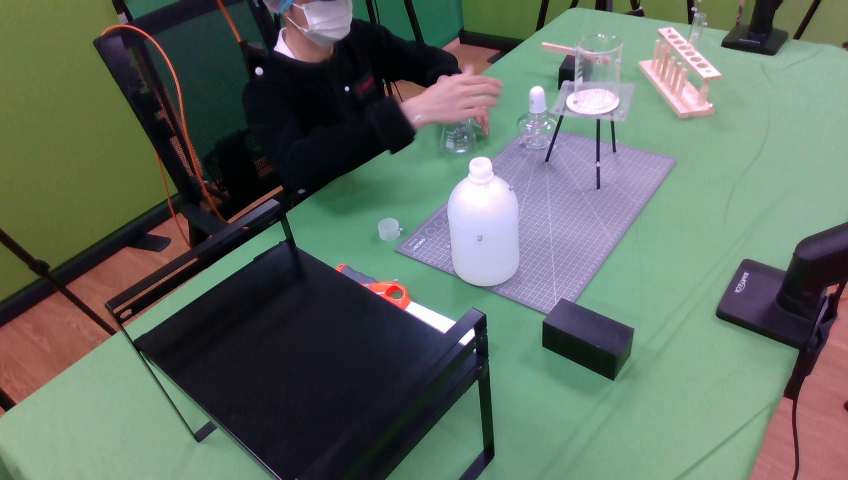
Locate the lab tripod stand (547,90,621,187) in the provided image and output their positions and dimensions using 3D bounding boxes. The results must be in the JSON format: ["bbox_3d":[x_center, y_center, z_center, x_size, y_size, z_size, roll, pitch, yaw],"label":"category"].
[{"bbox_3d":[0.289,-0.184,1.062,0.148,0.132,0.147,-6,41,6],"label":"lab tripod stand"}]

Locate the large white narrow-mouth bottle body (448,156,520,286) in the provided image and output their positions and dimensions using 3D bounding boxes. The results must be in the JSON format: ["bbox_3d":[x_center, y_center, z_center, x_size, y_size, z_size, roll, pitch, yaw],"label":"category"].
[{"bbox_3d":[0.086,-0.032,0.869,0.102,0.195,0.101,-4,40,4],"label":"large white narrow-mouth bottle body"}]

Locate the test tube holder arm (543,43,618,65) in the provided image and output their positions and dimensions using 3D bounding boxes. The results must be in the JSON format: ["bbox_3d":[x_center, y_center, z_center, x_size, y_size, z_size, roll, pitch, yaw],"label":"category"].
[{"bbox_3d":[0.345,-0.413,1.341,0.177,0.015,0.013,25,50,32],"label":"test tube holder arm"}]

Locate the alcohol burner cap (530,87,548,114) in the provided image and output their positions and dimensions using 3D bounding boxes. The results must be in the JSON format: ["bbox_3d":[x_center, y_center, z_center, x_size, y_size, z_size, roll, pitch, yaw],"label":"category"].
[{"bbox_3d":[0.212,-0.262,1.126,0.034,0.048,0.033,-8,36,7],"label":"alcohol burner cap"}]

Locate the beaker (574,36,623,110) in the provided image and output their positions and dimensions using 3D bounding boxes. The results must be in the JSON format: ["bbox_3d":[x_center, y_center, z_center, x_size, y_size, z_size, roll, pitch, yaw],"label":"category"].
[{"bbox_3d":[0.285,-0.273,0.990,0.073,0.101,0.084,15,46,27],"label":"beaker"}]

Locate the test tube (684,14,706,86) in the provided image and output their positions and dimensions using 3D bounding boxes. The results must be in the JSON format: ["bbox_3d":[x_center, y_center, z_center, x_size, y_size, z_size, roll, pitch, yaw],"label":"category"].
[{"bbox_3d":[0.540,-0.378,1.215,0.017,0.151,0.017,-2,44,3],"label":"test tube"}]

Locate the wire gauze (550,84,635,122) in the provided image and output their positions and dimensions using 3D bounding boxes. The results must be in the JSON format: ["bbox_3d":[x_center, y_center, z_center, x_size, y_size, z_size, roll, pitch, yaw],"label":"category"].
[{"bbox_3d":[0.285,-0.234,1.021,0.124,0.011,0.121,8,41,23],"label":"wire gauze"}]

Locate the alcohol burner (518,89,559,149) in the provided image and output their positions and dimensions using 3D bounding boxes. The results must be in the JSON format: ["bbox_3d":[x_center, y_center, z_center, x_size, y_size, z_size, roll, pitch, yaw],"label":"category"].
[{"bbox_3d":[0.218,-0.235,1.149,0.078,0.119,0.077,-5,43,5],"label":"alcohol burner"}]

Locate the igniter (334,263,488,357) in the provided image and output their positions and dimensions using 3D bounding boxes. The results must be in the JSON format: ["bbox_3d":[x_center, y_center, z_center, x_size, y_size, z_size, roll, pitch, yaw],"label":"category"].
[{"bbox_3d":[-0.030,0.095,0.872,0.274,0.025,0.057,23,60,31],"label":"igniter"}]

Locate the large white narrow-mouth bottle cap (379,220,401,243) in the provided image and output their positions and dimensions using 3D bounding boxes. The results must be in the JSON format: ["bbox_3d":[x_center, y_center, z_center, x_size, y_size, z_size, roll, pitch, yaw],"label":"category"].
[{"bbox_3d":[-0.057,-0.015,1.011,0.038,0.024,0.037,-4,40,4],"label":"large white narrow-mouth bottle cap"}]

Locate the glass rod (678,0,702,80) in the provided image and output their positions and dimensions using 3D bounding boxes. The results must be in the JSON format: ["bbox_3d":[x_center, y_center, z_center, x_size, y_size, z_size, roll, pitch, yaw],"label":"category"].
[{"bbox_3d":[0.543,-0.417,1.233,0.008,0.200,0.008,1,39,0],"label":"glass rod"}]

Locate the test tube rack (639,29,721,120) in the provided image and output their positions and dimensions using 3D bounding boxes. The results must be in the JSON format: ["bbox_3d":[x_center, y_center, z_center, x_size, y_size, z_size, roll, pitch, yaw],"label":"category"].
[{"bbox_3d":[0.527,-0.351,1.262,0.067,0.085,0.241,-8,40,1],"label":"test tube rack"}]

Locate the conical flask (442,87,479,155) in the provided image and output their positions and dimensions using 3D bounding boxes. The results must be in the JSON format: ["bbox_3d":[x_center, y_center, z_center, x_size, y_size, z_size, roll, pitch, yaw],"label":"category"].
[{"bbox_3d":[0.066,-0.232,1.168,0.075,0.122,0.075,-5,40,5],"label":"conical flask"}]

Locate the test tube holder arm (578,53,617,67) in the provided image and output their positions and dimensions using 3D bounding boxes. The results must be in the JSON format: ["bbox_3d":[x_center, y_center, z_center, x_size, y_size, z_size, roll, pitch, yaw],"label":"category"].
[{"bbox_3d":[0.376,-0.393,1.314,0.087,0.015,0.010,26,51,32],"label":"test tube holder arm"}]
